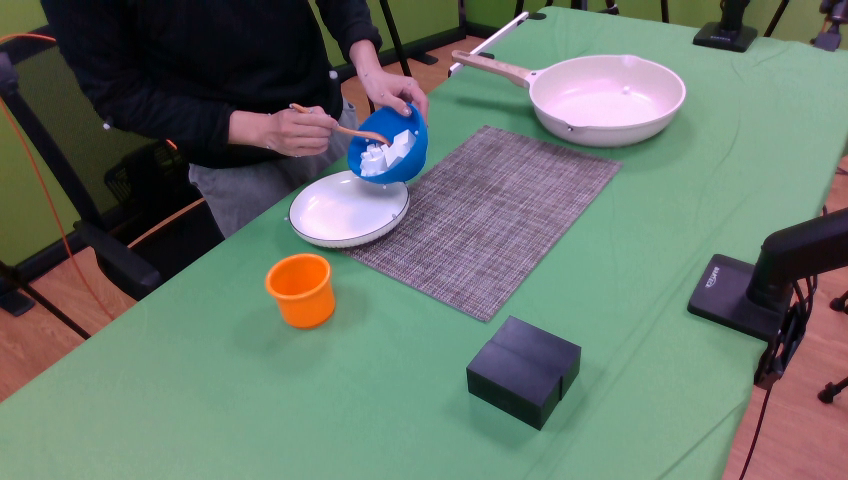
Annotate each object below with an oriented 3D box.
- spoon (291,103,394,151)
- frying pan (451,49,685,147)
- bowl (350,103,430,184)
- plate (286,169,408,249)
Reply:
[{"bbox_3d":[-0.129,-0.183,0.988,0.195,0.021,0.041,14,9,-35],"label":"spoon"},{"bbox_3d":[0.269,-0.316,1.233,0.485,0.103,0.307,26,49,21],"label":"frying pan"},{"bbox_3d":[-0.043,-0.148,1.020,0.151,0.077,0.150,-24,45,27],"label":"bowl"},{"bbox_3d":[-0.127,-0.050,1.029,0.207,0.039,0.206,-5,39,5],"label":"plate"}]
